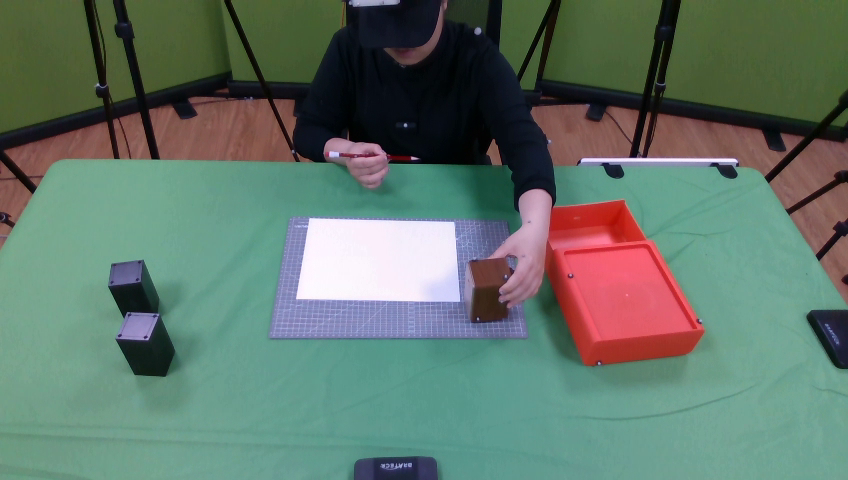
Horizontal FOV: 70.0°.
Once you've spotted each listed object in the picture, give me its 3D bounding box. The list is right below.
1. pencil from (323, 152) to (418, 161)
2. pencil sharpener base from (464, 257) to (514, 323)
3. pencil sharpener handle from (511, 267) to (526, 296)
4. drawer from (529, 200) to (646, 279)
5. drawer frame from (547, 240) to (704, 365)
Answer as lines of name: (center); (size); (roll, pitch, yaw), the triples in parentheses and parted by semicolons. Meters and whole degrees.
pencil: (-0.108, -0.169, 1.233); (0.194, 0.012, 0.012); (3, 45, -2)
pencil sharpener base: (0.112, 0.087, 1.047); (0.077, 0.107, 0.061); (-6, 47, -6)
pencil sharpener handle: (0.163, 0.073, 1.044); (0.031, 0.068, 0.035); (-6, 50, -6)
drawer: (0.327, 0.023, 1.160); (0.195, 0.073, 0.210); (-5, 46, -10)
drawer frame: (0.349, 0.104, 1.079); (0.202, 0.083, 0.212); (-5, 47, -10)
